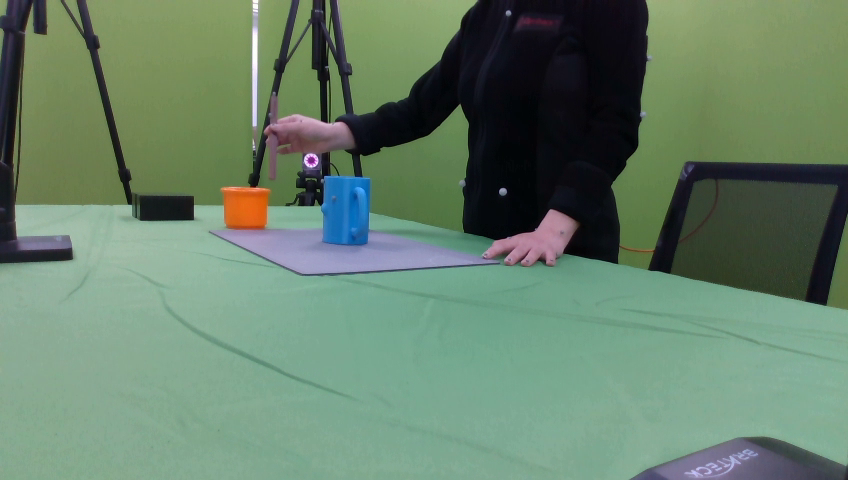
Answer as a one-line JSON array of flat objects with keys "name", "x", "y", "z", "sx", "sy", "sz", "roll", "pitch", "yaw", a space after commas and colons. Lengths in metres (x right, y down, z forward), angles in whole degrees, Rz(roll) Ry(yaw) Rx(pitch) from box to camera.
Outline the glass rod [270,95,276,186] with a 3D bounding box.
[{"name": "glass rod", "x": -0.285, "y": -0.190, "z": 1.142, "sx": 0.008, "sy": 0.199, "sz": 0.008, "roll": -4, "pitch": -23, "yaw": -1}]

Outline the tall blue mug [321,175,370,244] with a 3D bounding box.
[{"name": "tall blue mug", "x": -0.116, "y": -0.049, "z": 0.991, "sx": 0.106, "sy": 0.108, "sz": 0.078, "roll": 7, "pitch": 8, "yaw": 33}]
